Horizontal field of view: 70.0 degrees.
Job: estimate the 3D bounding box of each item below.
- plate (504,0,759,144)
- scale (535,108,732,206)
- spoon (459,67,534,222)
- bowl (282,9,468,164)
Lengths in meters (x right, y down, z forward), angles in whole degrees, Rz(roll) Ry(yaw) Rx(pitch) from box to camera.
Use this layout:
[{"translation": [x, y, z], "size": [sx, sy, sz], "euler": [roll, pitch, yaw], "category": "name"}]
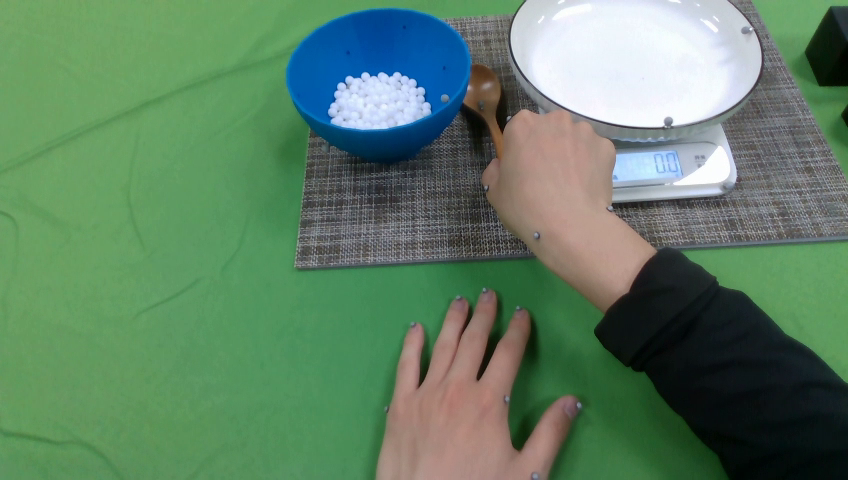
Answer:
[{"translation": [0.171, -0.156, 0.520], "size": [0.209, 0.038, 0.207], "euler": [-1, 56, 2], "category": "plate"}, {"translation": [0.173, -0.119, 0.534], "size": [0.148, 0.032, 0.199], "euler": [-4, 56, 1], "category": "scale"}, {"translation": [0.059, -0.087, 0.516], "size": [0.041, 0.022, 0.191], "euler": [-12, 48, -1], "category": "spoon"}, {"translation": [-0.037, -0.119, 0.519], "size": [0.151, 0.077, 0.150], "euler": [-1, 56, 2], "category": "bowl"}]
